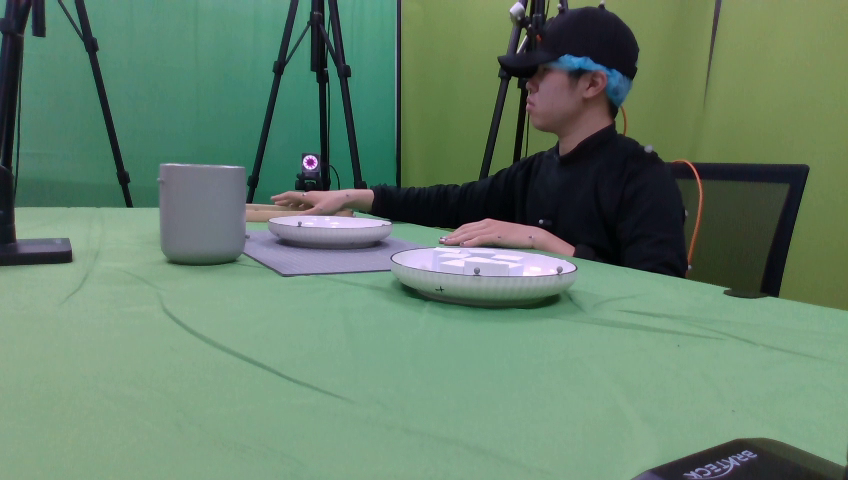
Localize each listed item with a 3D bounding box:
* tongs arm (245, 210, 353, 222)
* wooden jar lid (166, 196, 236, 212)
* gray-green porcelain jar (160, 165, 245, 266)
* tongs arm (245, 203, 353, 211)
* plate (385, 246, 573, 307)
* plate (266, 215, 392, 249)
[{"bbox_3d":[-0.337,-0.053,1.329,0.389,0.028,0.028,-1,6,-27],"label":"tongs arm"},{"bbox_3d":[-0.369,-0.060,1.001,0.108,0.020,0.108,3,6,0],"label":"wooden jar lid"},{"bbox_3d":[-0.291,-0.034,0.799,0.106,0.126,0.106,2,8,0],"label":"gray-green porcelain jar"},{"bbox_3d":[-0.361,-0.068,1.406,0.386,0.026,0.050,2,8,-14],"label":"tongs arm"},{"bbox_3d":[0.060,0.041,0.678,0.208,0.039,0.207,3,7,0],"label":"plate"},{"bbox_3d":[-0.159,-0.015,1.019,0.209,0.038,0.209,3,7,0],"label":"plate"}]
